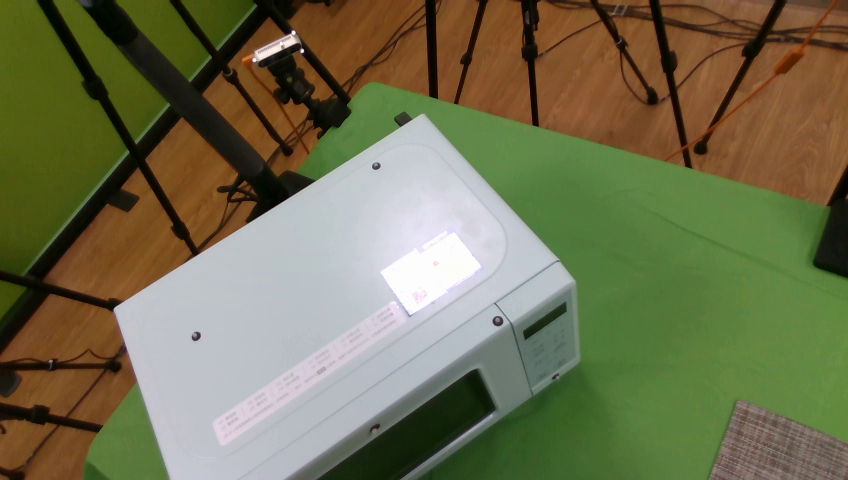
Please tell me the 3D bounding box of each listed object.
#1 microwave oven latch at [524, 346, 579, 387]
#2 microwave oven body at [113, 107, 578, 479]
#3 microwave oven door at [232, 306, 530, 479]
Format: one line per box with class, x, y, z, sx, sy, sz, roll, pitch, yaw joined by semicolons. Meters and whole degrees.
microwave oven latch;0.161;0.155;0.776;0.079;0.030;0.030;-32;58;-4
microwave oven body;-0.084;0.105;0.756;0.442;0.263;0.322;-34;58;-5
microwave oven door;-0.046;0.223;0.669;0.356;0.246;0.039;-34;57;-6
